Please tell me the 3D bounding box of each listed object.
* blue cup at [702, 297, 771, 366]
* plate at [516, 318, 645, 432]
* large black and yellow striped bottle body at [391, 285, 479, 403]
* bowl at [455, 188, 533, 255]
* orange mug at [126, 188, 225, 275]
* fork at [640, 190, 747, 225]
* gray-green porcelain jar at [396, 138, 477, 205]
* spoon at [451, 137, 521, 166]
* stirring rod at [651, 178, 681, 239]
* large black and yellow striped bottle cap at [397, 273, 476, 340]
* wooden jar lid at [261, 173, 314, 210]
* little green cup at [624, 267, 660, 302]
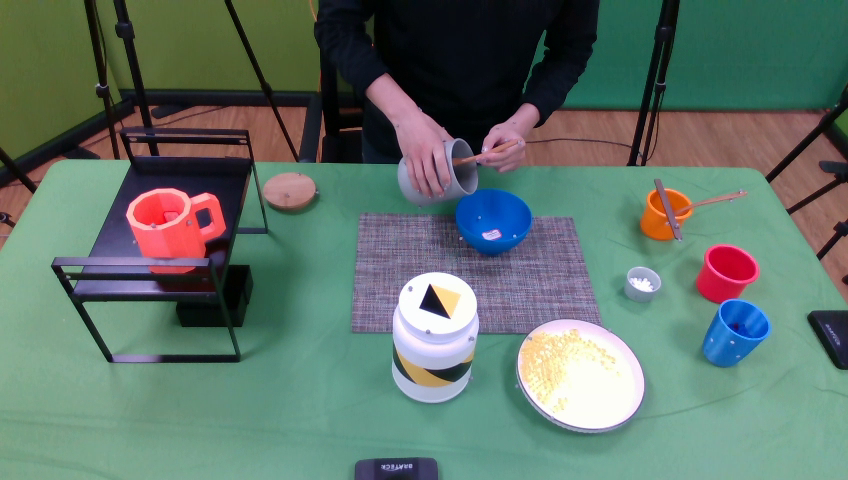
[{"bbox_3d":[0.519,0.162,1.025,0.093,0.101,0.092,3,45,-3],"label":"blue cup"},{"bbox_3d":[0.253,0.221,0.992,0.209,0.038,0.208,2,46,-2],"label":"plate"},{"bbox_3d":[0.015,0.153,0.938,0.131,0.185,0.130,2,46,-2],"label":"large black and yellow striped bottle body"},{"bbox_3d":[0.131,-0.025,1.186,0.151,0.077,0.150,2,46,-2],"label":"bowl"},{"bbox_3d":[-0.357,-0.019,0.884,0.126,0.101,0.083,-29,54,-23],"label":"orange mug"},{"bbox_3d":[0.533,-0.064,1.211,0.207,0.019,0.028,-22,28,39],"label":"fork"},{"bbox_3d":[0.020,-0.123,1.125,0.126,0.106,0.105,-11,38,30],"label":"gray-green porcelain jar"},{"bbox_3d":[0.087,-0.150,1.094,0.193,0.022,0.041,-14,29,26],"label":"spoon"},{"bbox_3d":[0.479,-0.065,1.204,0.014,0.006,0.175,3,46,-4],"label":"stirring rod"},{"bbox_3d":[0.018,0.094,0.878,0.115,0.019,0.114,3,46,-3],"label":"large black and yellow striped bottle cap"},{"bbox_3d":[-0.286,-0.101,1.273,0.108,0.021,0.107,3,45,-3],"label":"wooden jar lid"},{"bbox_3d":[0.406,0.084,1.135,0.061,0.039,0.061,3,45,-3],"label":"little green cup"}]
